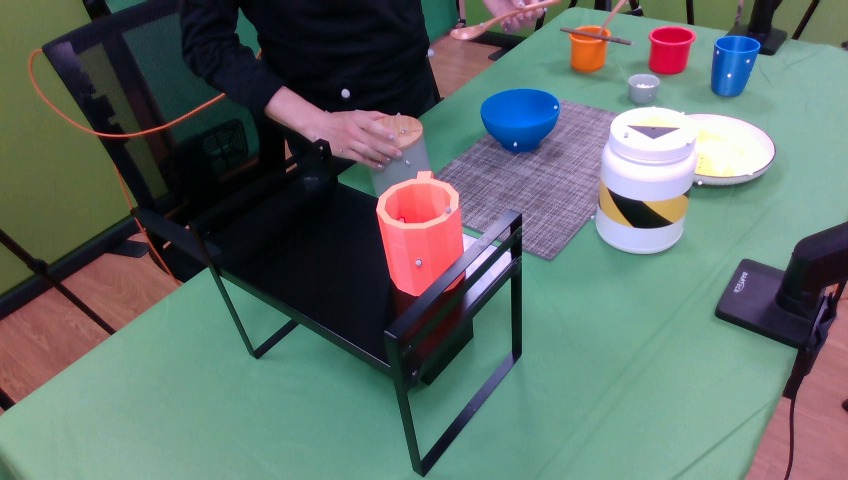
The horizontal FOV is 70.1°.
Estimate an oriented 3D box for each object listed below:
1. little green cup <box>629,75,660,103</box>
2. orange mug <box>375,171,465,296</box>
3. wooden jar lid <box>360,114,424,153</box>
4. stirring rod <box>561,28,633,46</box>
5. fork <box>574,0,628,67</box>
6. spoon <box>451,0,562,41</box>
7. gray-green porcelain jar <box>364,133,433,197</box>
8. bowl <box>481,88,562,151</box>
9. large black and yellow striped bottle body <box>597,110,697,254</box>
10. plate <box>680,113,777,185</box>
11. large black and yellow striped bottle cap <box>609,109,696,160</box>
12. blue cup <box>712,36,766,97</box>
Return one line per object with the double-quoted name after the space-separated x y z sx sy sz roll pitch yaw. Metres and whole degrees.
0.457 -0.314 1.260 0.061 0.039 0.061 -4 40 4 "little green cup"
0.000 -0.016 0.661 0.083 0.101 0.125 -2 45 8 "orange mug"
-0.053 -0.174 1.011 0.108 0.021 0.108 -6 41 6 "wooden jar lid"
0.382 -0.453 1.345 0.174 0.006 0.014 27 52 33 "stirring rod"
0.413 -0.481 1.377 0.207 0.019 0.028 -56 43 12 "fork"
0.140 -0.380 1.038 0.193 0.022 0.041 -17 40 16 "spoon"
-0.041 -0.127 1.050 0.106 0.127 0.105 -8 39 7 "gray-green porcelain jar"
0.187 -0.223 1.161 0.151 0.077 0.150 -4 40 4 "bowl"
0.331 -0.086 0.904 0.131 0.185 0.130 -5 41 4 "large black and yellow striped bottle body"
0.506 -0.158 1.073 0.209 0.038 0.208 -5 40 4 "plate"
0.319 -0.150 0.849 0.115 0.019 0.114 -4 40 3 "large black and yellow striped bottle cap"
0.627 -0.350 1.227 0.092 0.100 0.092 -4 39 4 "blue cup"
